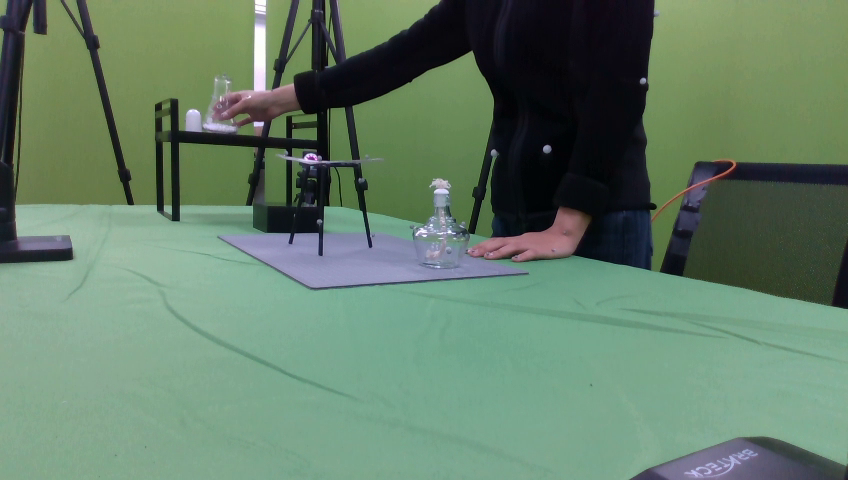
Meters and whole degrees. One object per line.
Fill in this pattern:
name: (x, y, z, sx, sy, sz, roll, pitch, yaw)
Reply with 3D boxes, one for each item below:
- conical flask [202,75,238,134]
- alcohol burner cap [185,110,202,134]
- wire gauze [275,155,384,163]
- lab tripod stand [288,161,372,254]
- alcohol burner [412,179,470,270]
conical flask: (-0.442, -0.295, 1.321, 0.075, 0.122, 0.075, 6, 7, 0)
alcohol burner cap: (-0.470, -0.241, 1.234, 0.034, 0.048, 0.034, 3, 7, 0)
wire gauze: (-0.142, -0.118, 0.900, 0.122, 0.011, 0.124, -3, 8, -37)
lab tripod stand: (-0.147, -0.052, 0.909, 0.148, 0.131, 0.148, 1, 8, 0)
alcohol burner: (0.022, -0.021, 0.805, 0.078, 0.119, 0.078, 0, 8, 0)
